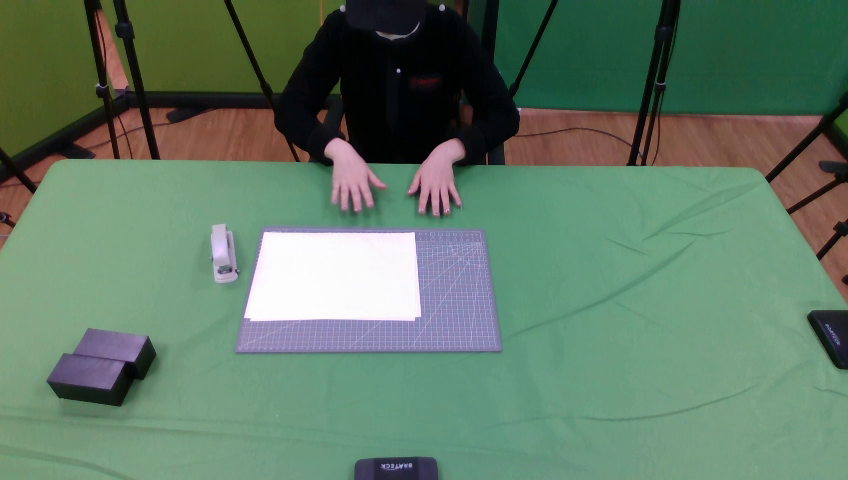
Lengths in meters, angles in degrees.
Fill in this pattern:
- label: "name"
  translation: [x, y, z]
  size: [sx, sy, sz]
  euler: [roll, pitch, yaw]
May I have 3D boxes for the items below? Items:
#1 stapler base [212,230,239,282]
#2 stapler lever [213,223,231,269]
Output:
- label: "stapler base"
  translation: [-0.377, 0.024, 1.144]
  size: [0.041, 0.024, 0.129]
  euler: [-10, 46, -15]
- label: "stapler lever"
  translation: [-0.377, 0.005, 1.127]
  size: [0.027, 0.040, 0.117]
  euler: [-10, 46, -15]
